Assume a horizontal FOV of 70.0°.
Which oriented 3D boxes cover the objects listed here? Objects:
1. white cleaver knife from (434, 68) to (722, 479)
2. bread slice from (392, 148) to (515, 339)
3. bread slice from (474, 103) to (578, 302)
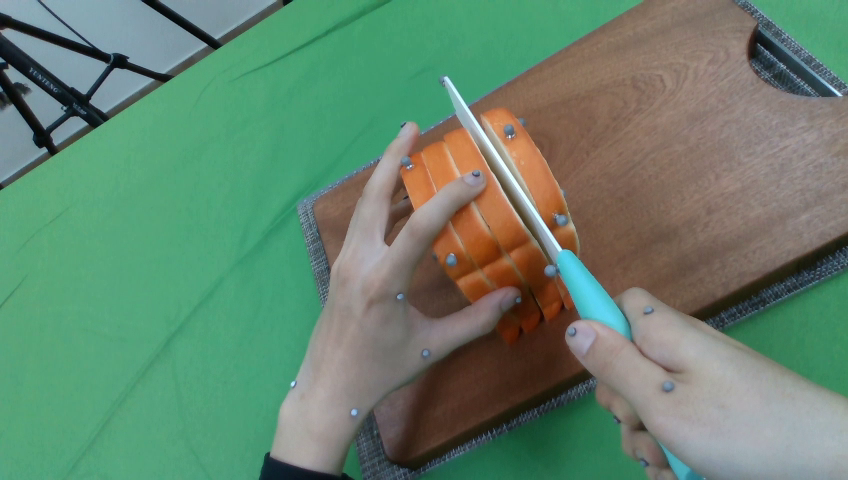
[{"bbox_3d":[0.075,0.005,0.347,0.021,0.066,0.283,-30,63,6],"label":"white cleaver knife"},{"bbox_3d":[0.020,-0.003,0.409,0.018,0.136,0.106,-29,52,8],"label":"bread slice"},{"bbox_3d":[0.070,-0.027,0.399,0.019,0.133,0.103,-28,56,1],"label":"bread slice"}]
